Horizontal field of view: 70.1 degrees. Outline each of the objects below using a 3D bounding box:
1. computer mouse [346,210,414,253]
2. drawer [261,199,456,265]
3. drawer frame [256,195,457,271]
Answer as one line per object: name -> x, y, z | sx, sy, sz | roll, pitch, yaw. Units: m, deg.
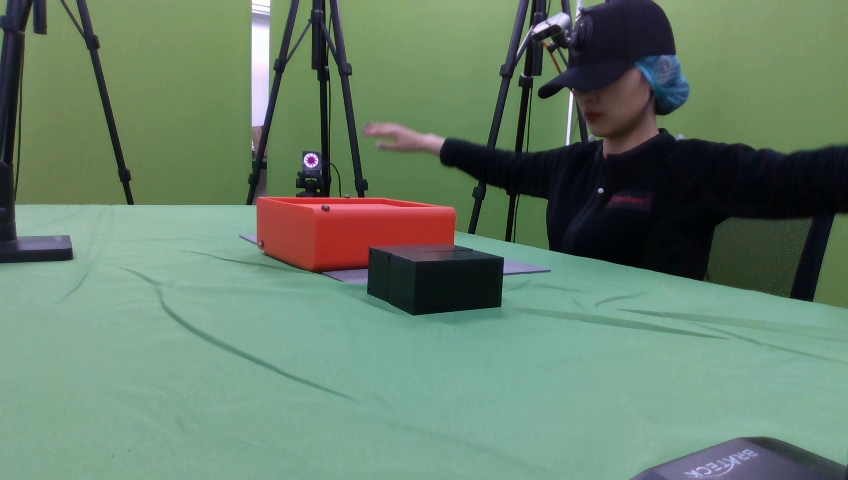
computer mouse -> -0.063, -0.014, 0.852 | 0.063, 0.041, 0.116 | 0, 21, -31
drawer -> -0.094, -0.017, 0.844 | 0.213, 0.073, 0.193 | -3, 10, -34
drawer frame -> -0.097, -0.017, 0.843 | 0.215, 0.082, 0.200 | -4, 10, -35
